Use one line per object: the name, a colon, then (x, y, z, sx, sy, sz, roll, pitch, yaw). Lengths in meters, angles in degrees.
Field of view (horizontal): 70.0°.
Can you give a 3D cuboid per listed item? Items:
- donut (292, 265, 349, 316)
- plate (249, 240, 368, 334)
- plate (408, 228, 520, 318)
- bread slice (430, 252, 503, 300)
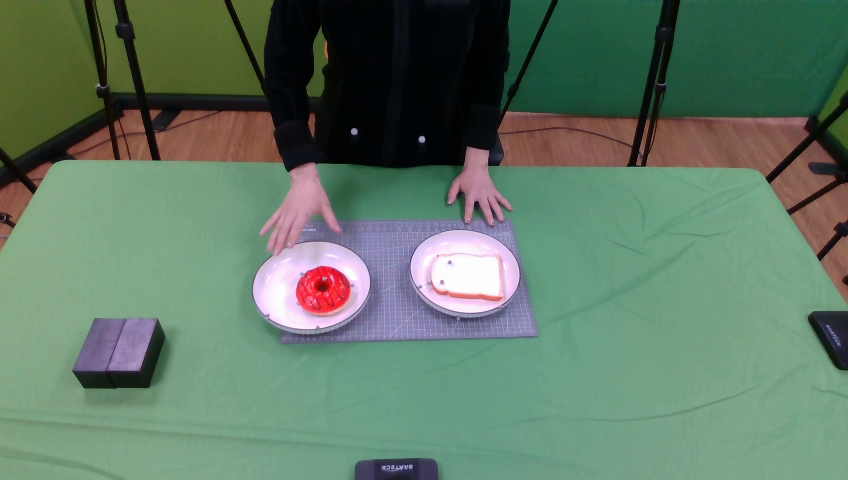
donut: (-0.181, 0.089, 1.067, 0.099, 0.048, 0.098, 3, 50, -4)
plate: (-0.204, 0.087, 1.084, 0.208, 0.039, 0.206, 2, 46, -2)
plate: (0.074, 0.063, 1.127, 0.209, 0.038, 0.208, 2, 46, -2)
bread slice: (0.078, 0.067, 1.125, 0.134, 0.018, 0.106, 1, 45, -3)
